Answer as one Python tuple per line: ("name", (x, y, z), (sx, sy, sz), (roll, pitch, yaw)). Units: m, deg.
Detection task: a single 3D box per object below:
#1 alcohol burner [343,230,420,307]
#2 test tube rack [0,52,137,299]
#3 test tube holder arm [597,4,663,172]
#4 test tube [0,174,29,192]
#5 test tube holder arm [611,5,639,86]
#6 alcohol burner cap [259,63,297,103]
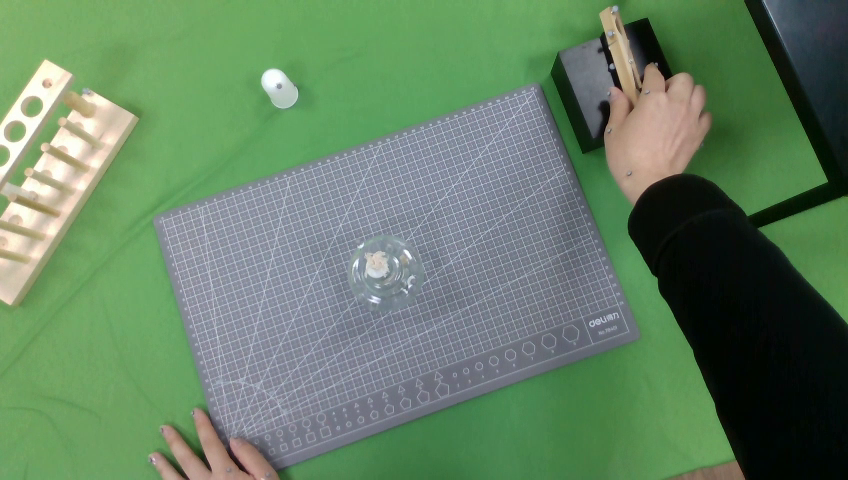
("alcohol burner", (-0.043, 0.025, 0.593), (0.078, 0.119, 0.077), (-1, 81, 4))
("test tube rack", (-0.412, -0.062, 0.629), (0.066, 0.085, 0.242), (30, 84, 6))
("test tube holder arm", (0.206, -0.153, 0.607), (0.013, 0.015, 0.177), (-8, 80, -33))
("test tube", (-0.432, -0.069, 0.581), (0.017, 0.151, 0.017), (0, 77, 1))
("test tube holder arm", (0.200, -0.197, 0.617), (0.010, 0.015, 0.087), (-8, 80, -33))
("alcohol burner cap", (-0.161, -0.174, 0.659), (0.034, 0.048, 0.033), (-1, 79, 6))
